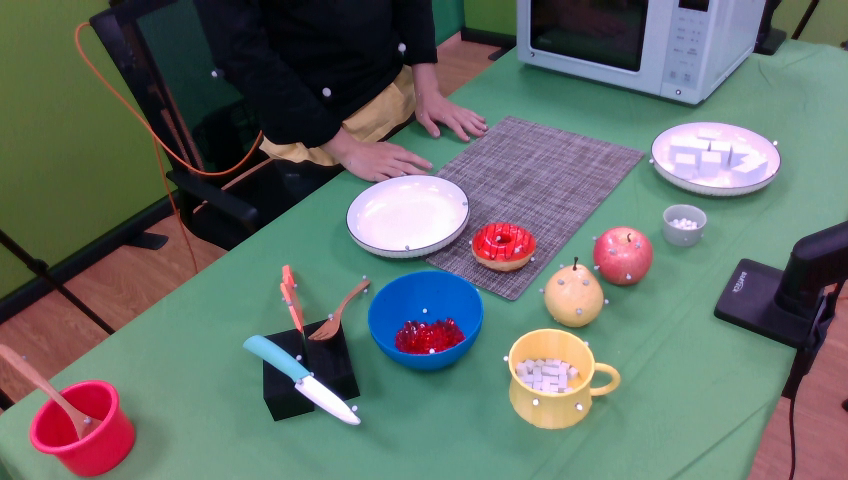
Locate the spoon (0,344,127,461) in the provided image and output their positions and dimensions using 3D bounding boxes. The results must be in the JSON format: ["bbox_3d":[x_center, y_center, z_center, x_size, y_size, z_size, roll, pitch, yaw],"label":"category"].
[{"bbox_3d":[-0.433,0.191,0.721,0.194,0.021,0.042,47,53,-6],"label":"spoon"}]

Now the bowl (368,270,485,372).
[{"bbox_3d":[0.007,0.118,0.791,0.151,0.077,0.150,-5,40,4],"label":"bowl"}]

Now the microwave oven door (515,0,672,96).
[{"bbox_3d":[0.343,-0.454,1.259,0.353,0.245,0.039,26,51,33],"label":"microwave oven door"}]

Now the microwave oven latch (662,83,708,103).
[{"bbox_3d":[0.517,-0.296,1.204,0.078,0.029,0.030,27,52,35],"label":"microwave oven latch"}]

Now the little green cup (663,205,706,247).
[{"bbox_3d":[0.396,-0.021,0.926,0.061,0.039,0.061,-4,40,4],"label":"little green cup"}]

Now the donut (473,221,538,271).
[{"bbox_3d":[0.123,0.008,0.923,0.099,0.048,0.098,-4,38,3],"label":"donut"}]

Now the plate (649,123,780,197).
[{"bbox_3d":[0.497,-0.135,1.046,0.207,0.039,0.206,-4,40,4],"label":"plate"}]

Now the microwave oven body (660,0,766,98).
[{"bbox_3d":[0.472,-0.513,1.317,0.438,0.261,0.327,26,51,34],"label":"microwave oven body"}]

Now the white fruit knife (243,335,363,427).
[{"bbox_3d":[-0.148,0.167,0.729,0.206,0.016,0.027,27,80,31],"label":"white fruit knife"}]

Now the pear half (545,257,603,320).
[{"bbox_3d":[0.197,0.056,0.811,0.076,0.110,0.055,-14,41,-13],"label":"pear half"}]

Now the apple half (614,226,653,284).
[{"bbox_3d":[0.298,0.023,0.864,0.053,0.075,0.080,-3,37,1],"label":"apple half"}]

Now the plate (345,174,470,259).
[{"bbox_3d":[-0.026,-0.037,1.004,0.209,0.038,0.208,-4,40,4],"label":"plate"}]

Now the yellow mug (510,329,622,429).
[{"bbox_3d":[0.168,0.164,0.722,0.130,0.064,0.099,0,40,8],"label":"yellow mug"}]

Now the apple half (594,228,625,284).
[{"bbox_3d":[0.259,0.026,0.864,0.033,0.081,0.081,-3,40,0],"label":"apple half"}]

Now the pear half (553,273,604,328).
[{"bbox_3d":[0.208,0.086,0.791,0.071,0.088,0.031,-14,39,-15],"label":"pear half"}]

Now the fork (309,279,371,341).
[{"bbox_3d":[-0.109,0.093,0.832,0.028,0.018,0.207,-4,19,15],"label":"fork"}]

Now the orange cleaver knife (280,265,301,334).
[{"bbox_3d":[-0.188,0.081,0.862,0.012,0.077,0.210,-20,12,-9],"label":"orange cleaver knife"}]
